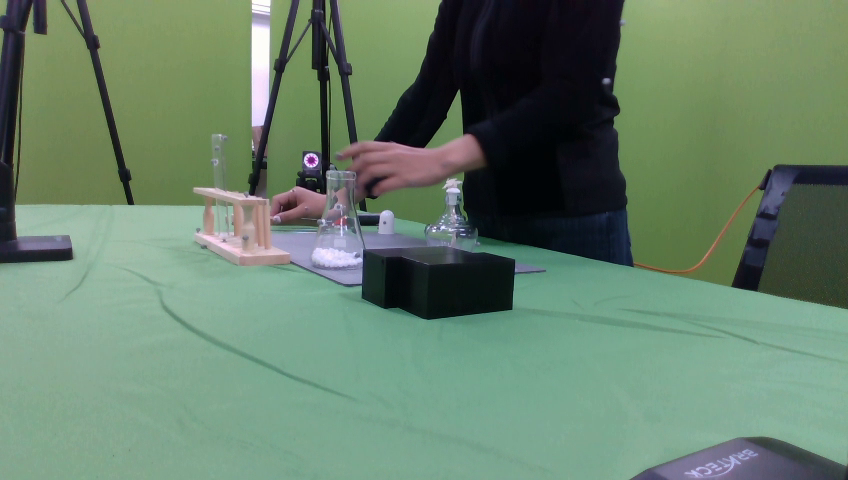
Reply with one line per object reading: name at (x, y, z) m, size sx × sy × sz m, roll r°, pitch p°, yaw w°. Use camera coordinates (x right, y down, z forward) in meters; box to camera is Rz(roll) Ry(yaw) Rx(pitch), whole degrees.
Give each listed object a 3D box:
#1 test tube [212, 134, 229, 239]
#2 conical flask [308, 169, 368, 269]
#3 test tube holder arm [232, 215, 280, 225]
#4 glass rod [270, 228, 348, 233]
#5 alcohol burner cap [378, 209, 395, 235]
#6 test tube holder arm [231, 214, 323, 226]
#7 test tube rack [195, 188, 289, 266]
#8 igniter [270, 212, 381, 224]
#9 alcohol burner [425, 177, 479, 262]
test tube at (-0.290, -0.075, 0.863) m, size 0.017 × 0.150 × 0.017 m, roll -2°, pitch 6°, yaw 0°
conical flask at (-0.107, -0.028, 0.762) m, size 0.075 × 0.122 × 0.075 m, roll 2°, pitch 7°, yaw 0°
test tube holder arm at (-0.309, -0.037, 1.118) m, size 0.088 × 0.015 × 0.010 m, roll 2°, pitch 21°, yaw -36°
glass rod at (-0.235, -0.018, 1.105) m, size 0.201 × 0.008 × 0.008 m, roll 1°, pitch 7°, yaw -26°
alcohol burner cap at (-0.071, -0.035, 1.145) m, size 0.034 × 0.048 × 0.034 m, roll 2°, pitch 8°, yaw 0°
test tube holder arm at (-0.276, -0.038, 1.149) m, size 0.179 × 0.015 × 0.013 m, roll 2°, pitch 21°, yaw -37°
test tube rack at (-0.266, -0.025, 0.864) m, size 0.067 × 0.085 × 0.241 m, roll -2°, pitch 8°, yaw -33°
igniter at (-0.213, -0.047, 1.278) m, size 0.278 × 0.025 × 0.057 m, roll -1°, pitch -2°, yaw -25°
alcohol burner at (0.040, -0.029, 0.853) m, size 0.078 × 0.119 × 0.078 m, roll 2°, pitch 10°, yaw 0°
